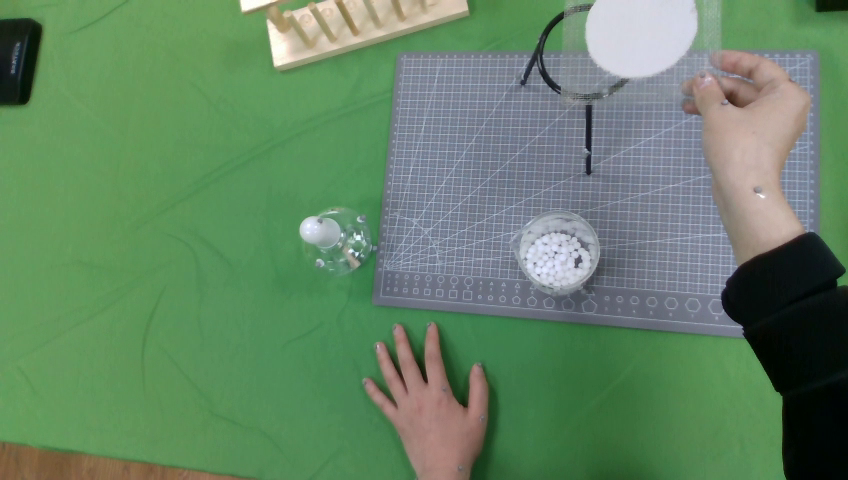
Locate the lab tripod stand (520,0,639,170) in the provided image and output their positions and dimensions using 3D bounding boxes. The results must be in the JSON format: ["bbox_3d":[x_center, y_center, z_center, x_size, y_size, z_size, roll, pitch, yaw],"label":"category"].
[{"bbox_3d":[0.159,-0.157,0.598,0.148,0.132,0.148,-1,82,10],"label":"lab tripod stand"}]

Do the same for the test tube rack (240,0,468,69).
[{"bbox_3d":[-0.079,-0.275,0.693,0.242,0.085,0.066,-13,78,9],"label":"test tube rack"}]

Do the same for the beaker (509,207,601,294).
[{"bbox_3d":[0.128,0.014,0.596,0.083,0.101,0.074,10,83,14],"label":"beaker"}]

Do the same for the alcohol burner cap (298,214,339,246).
[{"bbox_3d":[-0.109,-0.012,0.607,0.034,0.048,0.034,-1,84,11],"label":"alcohol burner cap"}]

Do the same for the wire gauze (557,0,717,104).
[{"bbox_3d":[0.170,-0.171,0.488,0.124,0.011,0.121,3,92,26],"label":"wire gauze"}]

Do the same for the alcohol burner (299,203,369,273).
[{"bbox_3d":[-0.101,-0.005,0.642,0.078,0.120,0.077,-2,79,10],"label":"alcohol burner"}]
